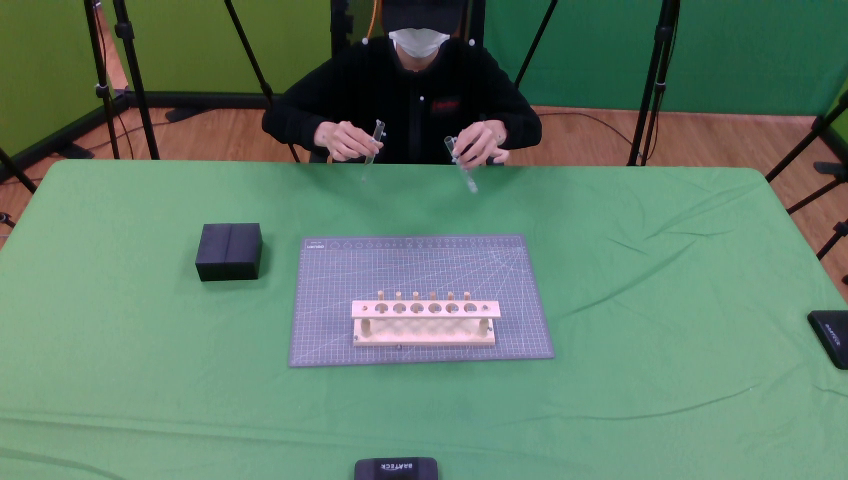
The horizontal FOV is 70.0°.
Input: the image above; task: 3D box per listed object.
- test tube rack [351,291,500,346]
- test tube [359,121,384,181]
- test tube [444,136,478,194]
[{"bbox_3d":[0.000,0.129,1.026,0.242,0.085,0.066,1,46,-4],"label":"test tube rack"},{"bbox_3d":[-0.103,-0.168,1.171,0.017,0.151,0.017,12,48,-13],"label":"test tube"},{"bbox_3d":[0.071,-0.136,1.119,0.017,0.151,0.017,-14,49,17],"label":"test tube"}]
